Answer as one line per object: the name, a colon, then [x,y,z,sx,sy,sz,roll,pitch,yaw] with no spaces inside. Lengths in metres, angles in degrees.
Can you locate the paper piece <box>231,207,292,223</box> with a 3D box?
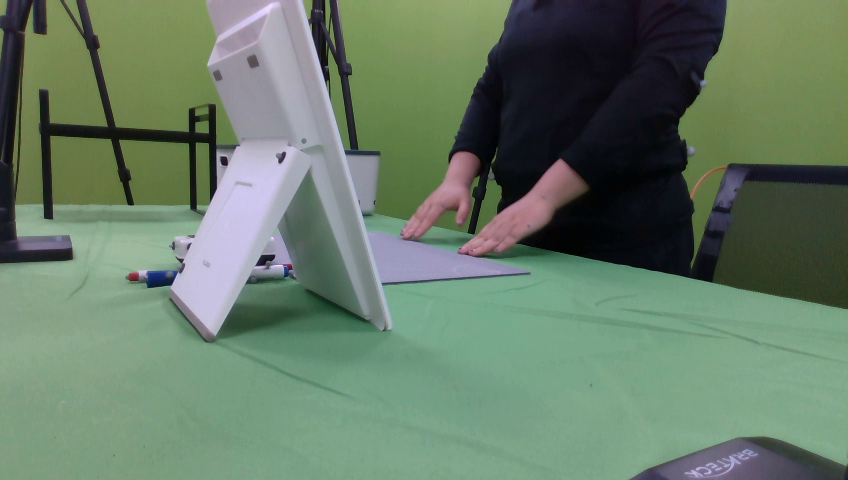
paper piece: [-0.395,-0.062,1.461,0.139,0.008,0.135,14,-4,-21]

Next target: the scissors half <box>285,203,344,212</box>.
scissors half: [-0.280,-0.082,1.552,0.040,0.013,0.176,1,9,45]

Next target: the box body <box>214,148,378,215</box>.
box body: [-0.328,-0.154,1.543,0.366,0.160,0.253,-2,9,-32]

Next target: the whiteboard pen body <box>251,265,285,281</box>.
whiteboard pen body: [-0.220,0.039,0.656,0.141,0.017,0.017,-2,9,-31]

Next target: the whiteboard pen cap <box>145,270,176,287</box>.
whiteboard pen cap: [-0.271,0.039,0.627,0.033,0.018,0.018,-4,10,-32]

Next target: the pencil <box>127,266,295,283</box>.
pencil: [-0.231,0.037,0.691,0.195,0.012,0.012,-2,9,-34]

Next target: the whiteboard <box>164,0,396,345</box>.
whiteboard: [-0.172,-0.053,0.511,0.144,0.305,0.216,-23,19,-26]

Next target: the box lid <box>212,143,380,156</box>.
box lid: [-0.326,-0.227,1.533,0.373,0.015,0.262,-2,8,-32]

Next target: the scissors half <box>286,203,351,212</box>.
scissors half: [-0.268,-0.079,1.535,0.176,0.013,0.040,-7,12,-23]

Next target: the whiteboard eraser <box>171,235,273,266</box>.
whiteboard eraser: [-0.248,0.014,0.747,0.113,0.042,0.055,-1,10,-32]
